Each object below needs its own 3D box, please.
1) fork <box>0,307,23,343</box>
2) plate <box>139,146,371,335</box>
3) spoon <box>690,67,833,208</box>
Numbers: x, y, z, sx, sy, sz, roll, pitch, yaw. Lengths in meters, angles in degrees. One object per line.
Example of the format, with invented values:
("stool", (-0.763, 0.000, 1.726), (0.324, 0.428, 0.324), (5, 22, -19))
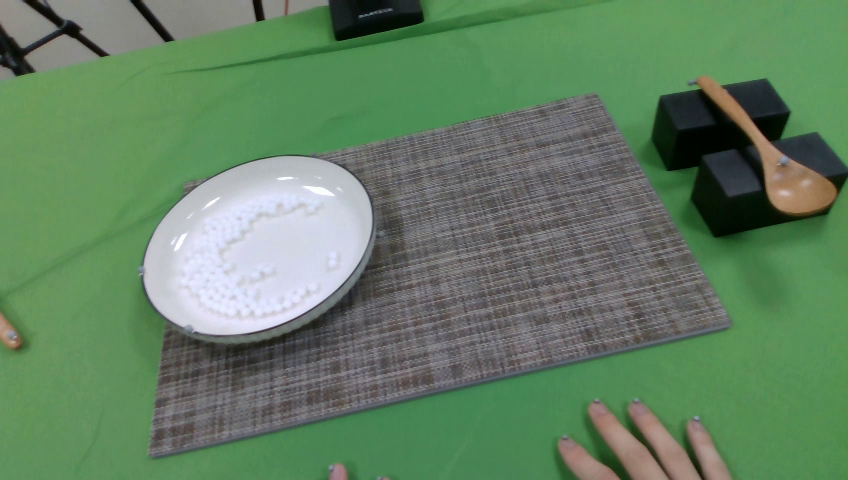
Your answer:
("fork", (-0.433, 0.041, 0.580), (0.205, 0.019, 0.028), (30, 55, 31))
("plate", (-0.147, -0.001, 0.548), (0.207, 0.039, 0.205), (-5, 51, 6))
("spoon", (0.268, -0.093, 0.501), (0.041, 0.022, 0.191), (-27, 48, 17))
